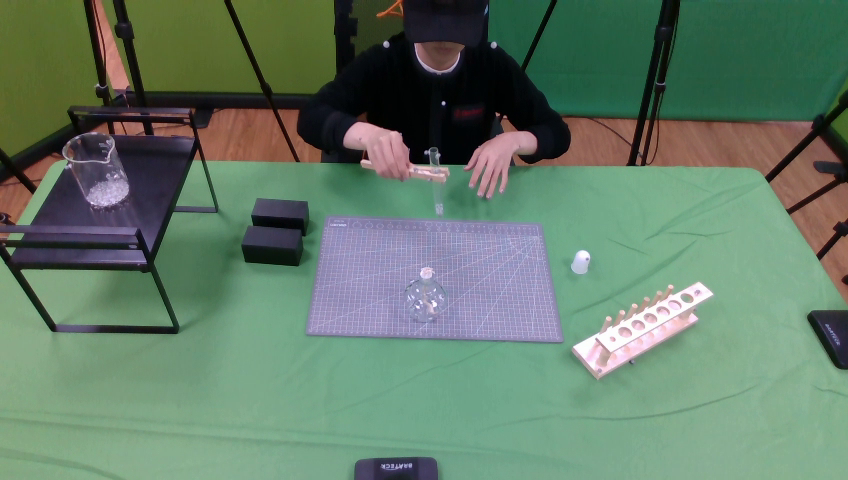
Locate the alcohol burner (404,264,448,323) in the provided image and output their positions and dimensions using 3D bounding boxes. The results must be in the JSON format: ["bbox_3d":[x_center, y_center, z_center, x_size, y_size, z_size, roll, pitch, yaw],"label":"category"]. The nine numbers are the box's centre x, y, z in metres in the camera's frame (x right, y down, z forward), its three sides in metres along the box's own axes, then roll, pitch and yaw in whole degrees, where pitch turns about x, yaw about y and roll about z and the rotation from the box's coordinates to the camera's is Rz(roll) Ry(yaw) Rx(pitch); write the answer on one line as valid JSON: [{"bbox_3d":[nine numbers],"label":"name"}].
[{"bbox_3d":[0.003,0.087,1.042,0.078,0.120,0.077,1,45,0],"label":"alcohol burner"}]

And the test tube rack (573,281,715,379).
[{"bbox_3d":[0.378,0.140,1.038,0.242,0.085,0.066,-22,51,-23],"label":"test tube rack"}]

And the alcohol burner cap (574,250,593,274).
[{"bbox_3d":[0.308,0.039,1.163,0.034,0.048,0.033,1,46,-1],"label":"alcohol burner cap"}]

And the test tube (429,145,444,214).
[{"bbox_3d":[0.023,-0.100,1.037,0.017,0.151,0.017,-4,47,4],"label":"test tube"}]

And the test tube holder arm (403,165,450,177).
[{"bbox_3d":[0.002,-0.119,1.036,0.087,0.015,0.010,6,39,24],"label":"test tube holder arm"}]

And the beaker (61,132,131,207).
[{"bbox_3d":[-0.512,-0.107,0.959,0.083,0.101,0.074,29,51,22],"label":"beaker"}]

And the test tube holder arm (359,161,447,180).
[{"bbox_3d":[-0.040,-0.122,1.053,0.178,0.015,0.013,10,40,29],"label":"test tube holder arm"}]
